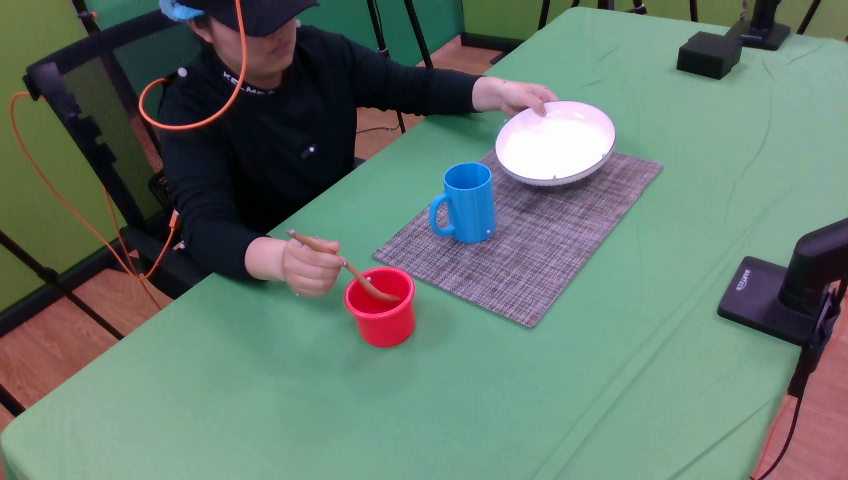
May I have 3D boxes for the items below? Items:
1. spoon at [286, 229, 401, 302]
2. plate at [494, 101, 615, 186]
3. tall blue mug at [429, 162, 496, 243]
[{"bbox_3d":[-0.102,0.035,0.789,0.021,0.195,0.041,-57,33,-10],"label":"spoon"},{"bbox_3d":[0.229,-0.166,1.068,0.207,0.039,0.206,-9,48,11],"label":"plate"},{"bbox_3d":[0.067,-0.051,0.960,0.077,0.108,0.107,18,47,28],"label":"tall blue mug"}]
